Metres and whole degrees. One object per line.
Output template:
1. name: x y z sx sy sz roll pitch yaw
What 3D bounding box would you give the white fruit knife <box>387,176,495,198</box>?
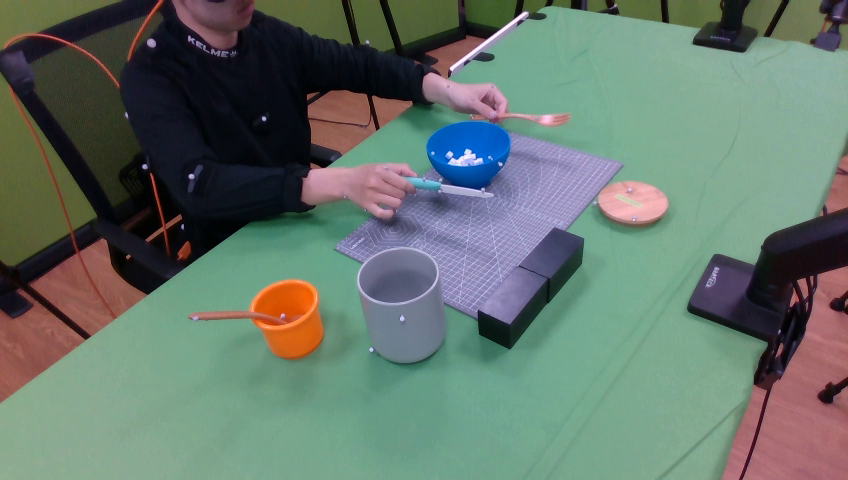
1. white fruit knife: 0.023 -0.085 0.978 0.206 0.027 0.016 10 65 31

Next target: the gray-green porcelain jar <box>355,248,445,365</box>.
1. gray-green porcelain jar: -0.027 0.091 0.786 0.106 0.127 0.105 -4 40 4

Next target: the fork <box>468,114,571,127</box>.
1. fork: 0.175 -0.228 1.136 0.206 0.019 0.028 9 63 28

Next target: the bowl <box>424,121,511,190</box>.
1. bowl: 0.081 -0.140 1.074 0.151 0.077 0.150 -4 40 4

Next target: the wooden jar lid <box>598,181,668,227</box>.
1. wooden jar lid: 0.340 -0.058 0.988 0.108 0.021 0.108 -5 41 5

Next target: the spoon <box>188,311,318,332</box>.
1. spoon: -0.216 0.102 0.783 0.041 0.195 0.021 26 95 39
